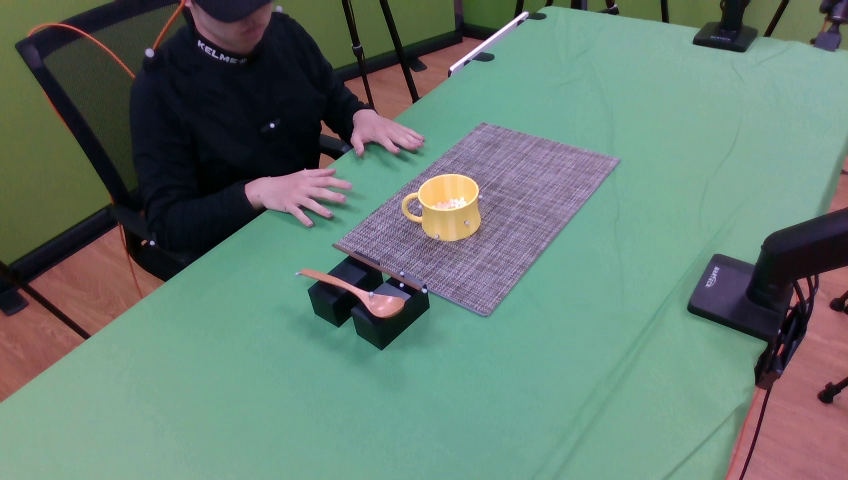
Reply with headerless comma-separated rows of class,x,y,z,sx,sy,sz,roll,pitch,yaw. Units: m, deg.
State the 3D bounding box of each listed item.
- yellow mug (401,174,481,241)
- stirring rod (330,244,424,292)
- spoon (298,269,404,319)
yellow mug,0.026,-0.054,0.988,0.130,0.064,0.099,-1,40,8
stirring rod,-0.070,0.038,0.864,0.175,0.006,0.014,24,12,31
spoon,-0.106,0.068,0.831,0.192,0.022,0.042,21,49,32
